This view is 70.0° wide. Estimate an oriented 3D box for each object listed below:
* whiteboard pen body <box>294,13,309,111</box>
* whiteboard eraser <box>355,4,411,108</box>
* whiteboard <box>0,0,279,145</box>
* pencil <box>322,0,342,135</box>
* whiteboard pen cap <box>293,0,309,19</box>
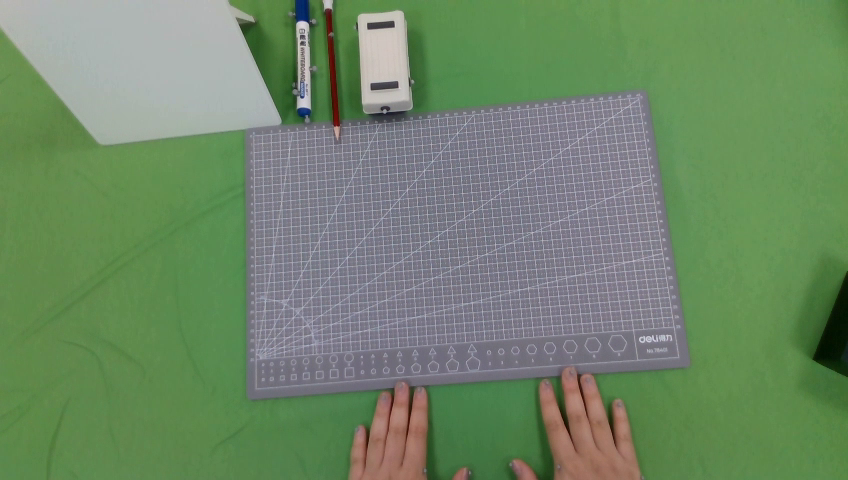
[{"bbox_3d":[-0.141,-0.216,0.696,0.017,0.017,0.140,-4,78,4],"label":"whiteboard pen body"},{"bbox_3d":[-0.046,-0.204,0.674,0.055,0.042,0.112,-6,78,4],"label":"whiteboard eraser"},{"bbox_3d":[-0.288,-0.259,0.600,0.217,0.308,0.142,-5,58,4],"label":"whiteboard"},{"bbox_3d":[-0.105,-0.210,0.695,0.012,0.012,0.193,-8,78,3],"label":"pencil"},{"bbox_3d":[-0.144,-0.273,0.706,0.018,0.018,0.033,-6,77,3],"label":"whiteboard pen cap"}]
